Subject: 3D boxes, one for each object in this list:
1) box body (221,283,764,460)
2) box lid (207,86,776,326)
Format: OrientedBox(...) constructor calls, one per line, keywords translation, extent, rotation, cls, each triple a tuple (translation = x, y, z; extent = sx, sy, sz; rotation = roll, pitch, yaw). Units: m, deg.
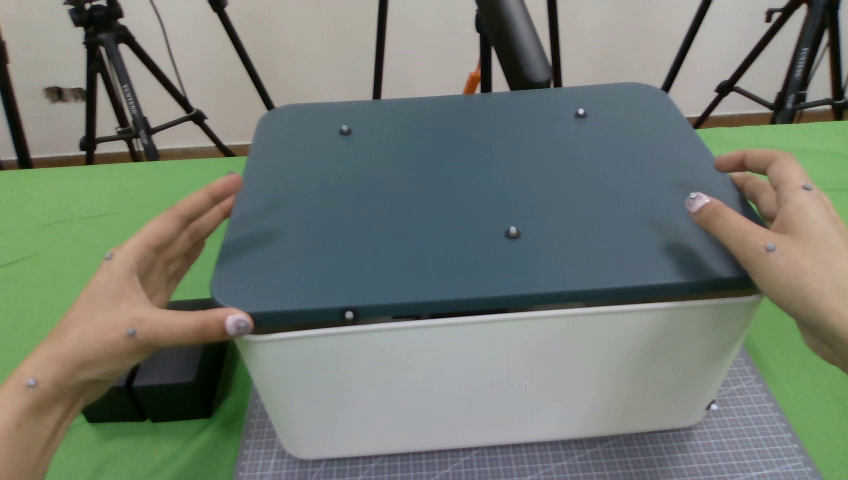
OrientedBox(translation=(0.045, 0.035, 0.527), extent=(0.364, 0.162, 0.251), rotation=(-4, 38, -2), cls="box body")
OrientedBox(translation=(0.037, -0.045, 0.468), extent=(0.372, 0.015, 0.260), rotation=(-4, 41, -1), cls="box lid")
